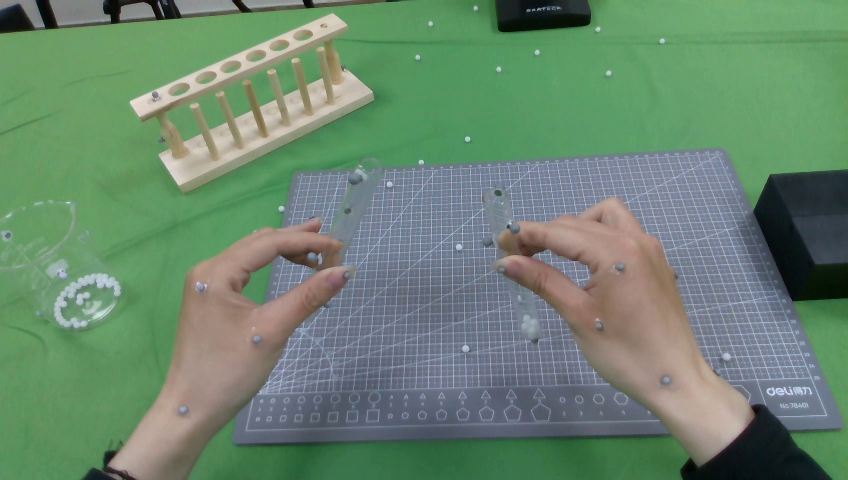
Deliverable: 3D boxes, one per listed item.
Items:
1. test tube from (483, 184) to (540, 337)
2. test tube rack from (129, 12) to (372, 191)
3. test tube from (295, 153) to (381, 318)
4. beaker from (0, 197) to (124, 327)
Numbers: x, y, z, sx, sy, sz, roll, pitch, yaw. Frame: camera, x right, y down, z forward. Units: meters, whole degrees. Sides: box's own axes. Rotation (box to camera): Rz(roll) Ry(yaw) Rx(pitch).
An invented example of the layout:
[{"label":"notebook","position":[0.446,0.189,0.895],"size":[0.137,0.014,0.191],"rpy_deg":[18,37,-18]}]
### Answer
[{"label":"test tube","position":[0.060,0.021,0.403],"size":[0.017,0.152,0.017],"rpy_deg":[-10,47,11]},{"label":"test tube rack","position":[-0.182,-0.157,0.671],"size":[0.242,0.086,0.066],"rpy_deg":[-31,54,-18]},{"label":"test tube","position":[-0.058,0.004,0.385],"size":[0.017,0.151,0.017],"rpy_deg":[16,43,-15]},{"label":"beaker","position":[-0.316,0.021,0.529],"size":[0.073,0.101,0.083],"rpy_deg":[19,54,20]}]
